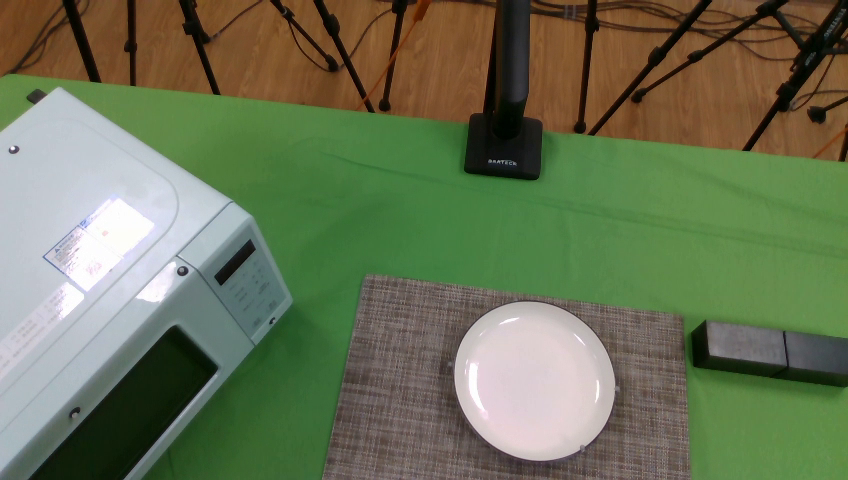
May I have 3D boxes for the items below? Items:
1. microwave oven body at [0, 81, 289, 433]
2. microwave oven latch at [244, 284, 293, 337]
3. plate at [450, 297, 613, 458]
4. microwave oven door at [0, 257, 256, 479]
[{"bbox_3d":[-0.432,0.098,0.690,0.324,0.262,0.440,32,67,14],"label":"microwave oven body"},{"bbox_3d":[-0.210,0.089,0.807,0.030,0.030,0.079,34,68,15],"label":"microwave oven latch"},{"bbox_3d":[0.136,0.176,0.784,0.208,0.039,0.206,1,63,-1],"label":"plate"},{"bbox_3d":[-0.336,0.200,0.633,0.039,0.245,0.355,31,67,15],"label":"microwave oven door"}]
